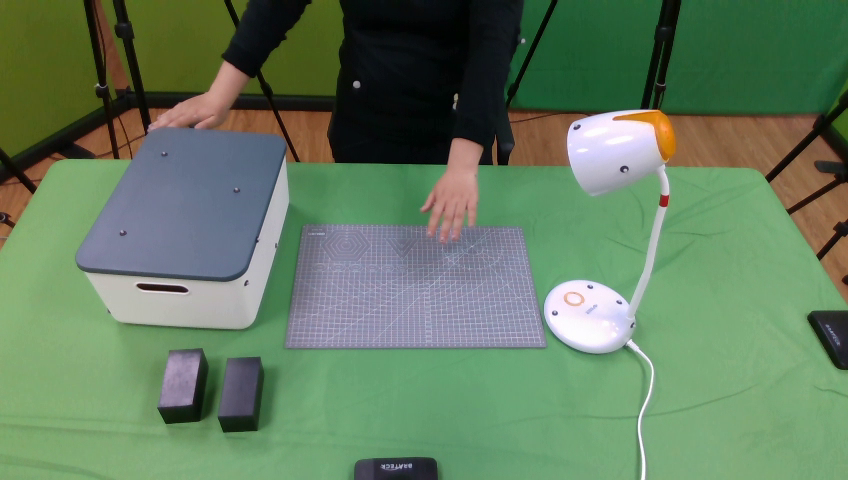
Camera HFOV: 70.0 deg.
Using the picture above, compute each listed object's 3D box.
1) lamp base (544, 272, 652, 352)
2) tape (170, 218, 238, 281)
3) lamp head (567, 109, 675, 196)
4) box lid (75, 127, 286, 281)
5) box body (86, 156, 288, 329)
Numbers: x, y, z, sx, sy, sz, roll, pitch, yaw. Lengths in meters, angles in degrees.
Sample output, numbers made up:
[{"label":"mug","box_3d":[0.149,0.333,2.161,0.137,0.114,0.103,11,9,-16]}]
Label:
[{"label":"lamp base","box_3d":[0.309,0.086,1.029,0.178,0.181,0.160,32,52,21]},{"label":"tape","box_3d":[-0.406,0.017,1.121,0.117,0.053,0.116,2,46,-2]},{"label":"lamp head","box_3d":[0.272,-0.123,0.818,0.122,0.113,0.112,-9,35,37]},{"label":"box lid","box_3d":[-0.398,-0.075,1.039,0.263,0.015,0.369,4,45,-1]},{"label":"box body","box_3d":[-0.401,-0.025,1.094,0.254,0.161,0.362,3,46,-1]}]
